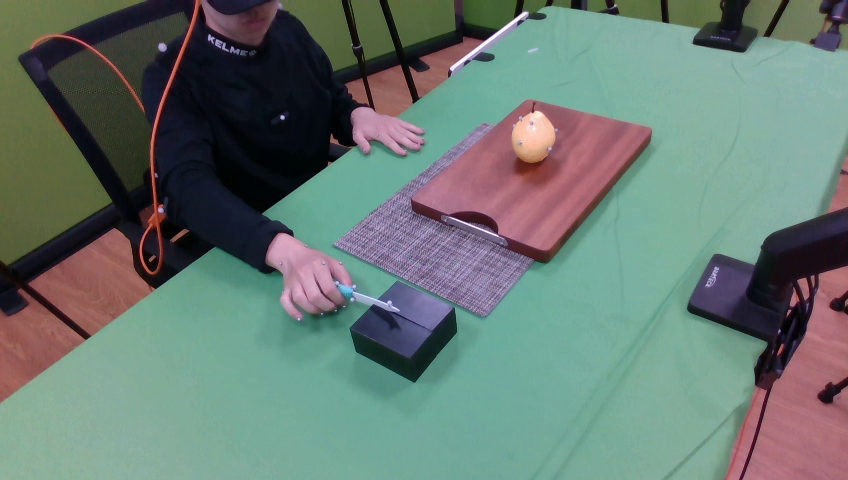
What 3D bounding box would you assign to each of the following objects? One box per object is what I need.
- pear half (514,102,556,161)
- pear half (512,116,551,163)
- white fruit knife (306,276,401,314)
[{"bbox_3d":[0.196,-0.198,1.060,0.076,0.110,0.056,13,44,17],"label":"pear half"},{"bbox_3d":[0.182,-0.169,1.043,0.070,0.088,0.031,12,45,18],"label":"pear half"},{"bbox_3d":[-0.103,0.076,0.846,0.205,0.027,0.016,11,50,43],"label":"white fruit knife"}]
